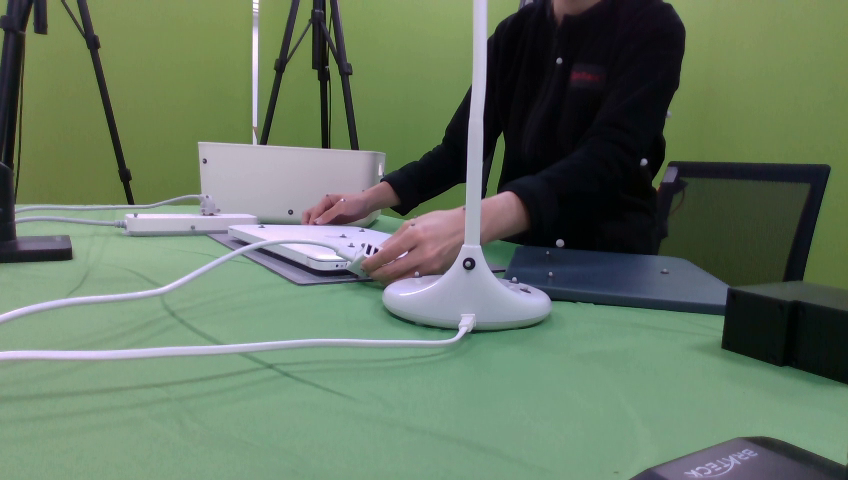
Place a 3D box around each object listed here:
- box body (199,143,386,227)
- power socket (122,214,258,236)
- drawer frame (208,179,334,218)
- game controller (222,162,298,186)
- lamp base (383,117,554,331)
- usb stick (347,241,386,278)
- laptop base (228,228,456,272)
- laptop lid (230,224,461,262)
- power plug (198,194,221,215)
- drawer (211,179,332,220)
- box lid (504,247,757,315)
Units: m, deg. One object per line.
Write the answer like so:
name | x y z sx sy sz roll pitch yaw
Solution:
box body | -0.276 -0.124 1.335 0.364 0.160 0.254 3 7 1
power socket | -0.399 -0.028 1.049 0.228 0.032 0.072 -3 8 -34
drawer frame | -0.327 -0.093 1.328 0.213 0.082 0.202 0 5 6
game controller | -0.357 -0.143 1.321 0.156 0.051 0.097 1 2 -16
lamp base | 0.045 -0.019 0.547 0.161 0.180 0.179 2 10 -4
usb stick | -0.068 0.025 0.679 0.027 0.021 0.059 24 -36 -19
laptop base | -0.122 0.012 0.889 0.237 0.023 0.352 2 6 -35
laptop lid | -0.119 0.000 0.889 0.243 0.013 0.355 1 7 -33
power plug | -0.387 -0.055 1.089 0.035 0.052 0.072 -1 7 -22
drawer | -0.328 -0.095 1.332 0.212 0.073 0.194 5 8 6
box lid | 0.244 0.044 0.793 0.263 0.015 0.372 4 6 11
